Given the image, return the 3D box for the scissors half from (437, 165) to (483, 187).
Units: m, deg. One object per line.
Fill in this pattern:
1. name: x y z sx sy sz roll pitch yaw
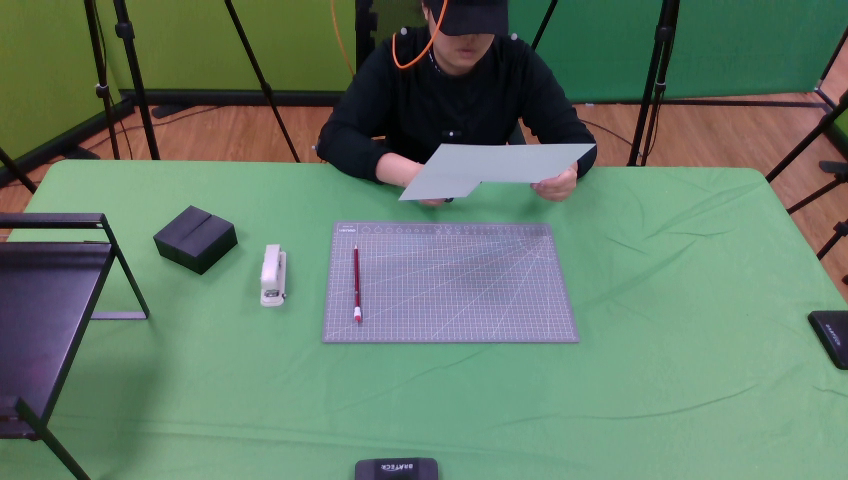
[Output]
1. scissors half: 0.069 -0.121 1.184 0.013 0.040 0.174 -1 12 -26

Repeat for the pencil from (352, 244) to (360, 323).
1. pencil: -0.127 0.075 1.119 0.012 0.012 0.192 -2 44 -7

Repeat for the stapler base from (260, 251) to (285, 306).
1. stapler base: -0.279 0.064 1.113 0.041 0.024 0.129 -2 44 -9

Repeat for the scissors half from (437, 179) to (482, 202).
1. scissors half: 0.069 -0.101 1.186 0.013 0.175 0.040 -7 89 -25

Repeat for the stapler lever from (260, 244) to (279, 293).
1. stapler lever: -0.279 0.045 1.096 0.027 0.040 0.117 -2 44 -9
